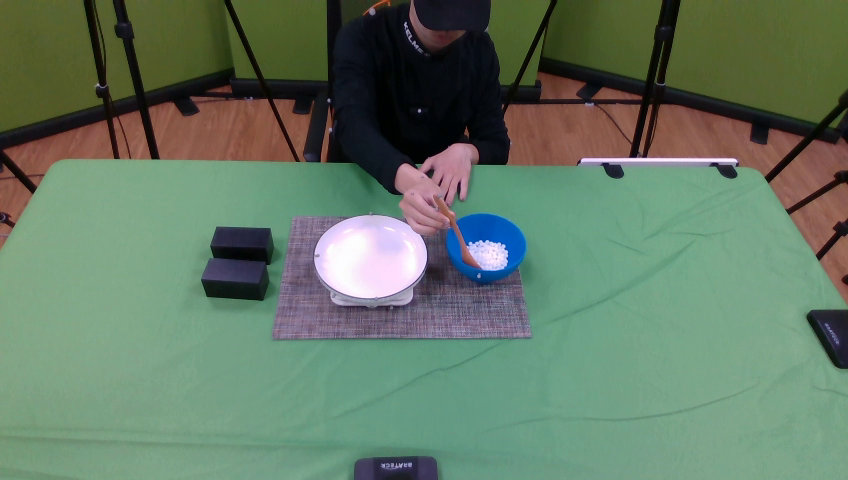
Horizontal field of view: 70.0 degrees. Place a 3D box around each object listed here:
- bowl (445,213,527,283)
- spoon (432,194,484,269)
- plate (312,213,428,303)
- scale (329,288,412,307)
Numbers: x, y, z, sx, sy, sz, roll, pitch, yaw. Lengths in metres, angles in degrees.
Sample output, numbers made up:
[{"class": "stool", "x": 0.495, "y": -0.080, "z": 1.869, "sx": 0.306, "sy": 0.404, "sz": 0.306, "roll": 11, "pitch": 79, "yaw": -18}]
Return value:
[{"class": "bowl", "x": 0.112, "y": 0.027, "z": 1.136, "sx": 0.151, "sy": 0.077, "sz": 0.150, "roll": 2, "pitch": 46, "yaw": -2}, {"class": "spoon", "x": 0.059, "y": -0.007, "z": 1.057, "sx": 0.041, "sy": 0.195, "sz": 0.021, "roll": 9, "pitch": 47, "yaw": 46}, {"class": "plate", "x": -0.097, "y": 0.036, "z": 1.100, "sx": 0.209, "sy": 0.038, "sz": 0.208, "roll": 2, "pitch": 46, "yaw": -1}, {"class": "scale", "x": -0.099, "y": 0.042, "z": 1.139, "sx": 0.149, "sy": 0.032, "sz": 0.199, "roll": 1, "pitch": 46, "yaw": -4}]
